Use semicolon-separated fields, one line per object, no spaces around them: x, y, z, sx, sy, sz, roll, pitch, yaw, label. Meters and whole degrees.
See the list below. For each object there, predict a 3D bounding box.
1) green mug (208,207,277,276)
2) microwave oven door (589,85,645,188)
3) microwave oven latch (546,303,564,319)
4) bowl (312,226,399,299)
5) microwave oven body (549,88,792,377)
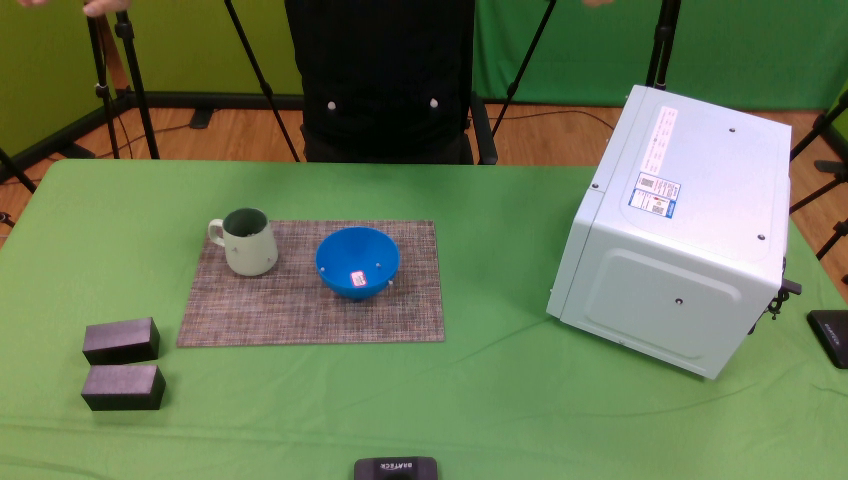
-0.335;0.000;1.108;0.125;0.105;0.092;14;47;9;green mug
0.342;-0.107;1.149;0.039;0.245;0.354;20;48;15;microwave oven door
0.242;0.102;1.081;0.030;0.029;0.079;21;48;17;microwave oven latch
-0.120;0.054;1.091;0.151;0.077;0.150;2;46;-2;bowl
0.456;-0.028;1.088;0.325;0.261;0.440;20;47;16;microwave oven body
